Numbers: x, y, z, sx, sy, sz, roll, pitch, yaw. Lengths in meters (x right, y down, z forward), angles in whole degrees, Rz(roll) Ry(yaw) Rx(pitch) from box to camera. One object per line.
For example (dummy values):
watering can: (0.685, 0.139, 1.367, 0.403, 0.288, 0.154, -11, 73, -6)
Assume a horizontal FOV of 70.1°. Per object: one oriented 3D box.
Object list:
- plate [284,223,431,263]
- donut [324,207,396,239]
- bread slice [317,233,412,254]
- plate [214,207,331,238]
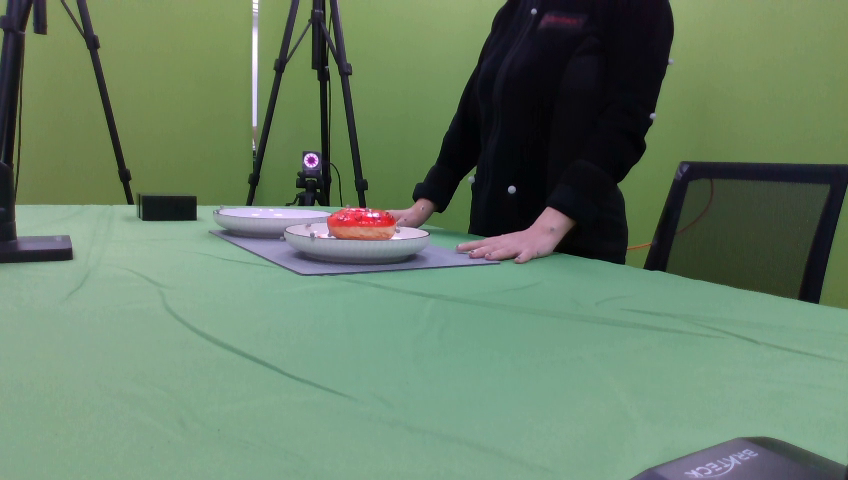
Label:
plate: (-0.094, 0.003, 0.868, 0.209, 0.038, 0.209, 2, 7, 0)
donut: (-0.089, -0.022, 0.847, 0.099, 0.048, 0.099, 4, 8, 0)
bread slice: (-0.096, 0.004, 0.863, 0.107, 0.018, 0.133, -1, 6, -31)
plate: (-0.268, -0.032, 1.085, 0.208, 0.039, 0.207, 2, 7, 0)
